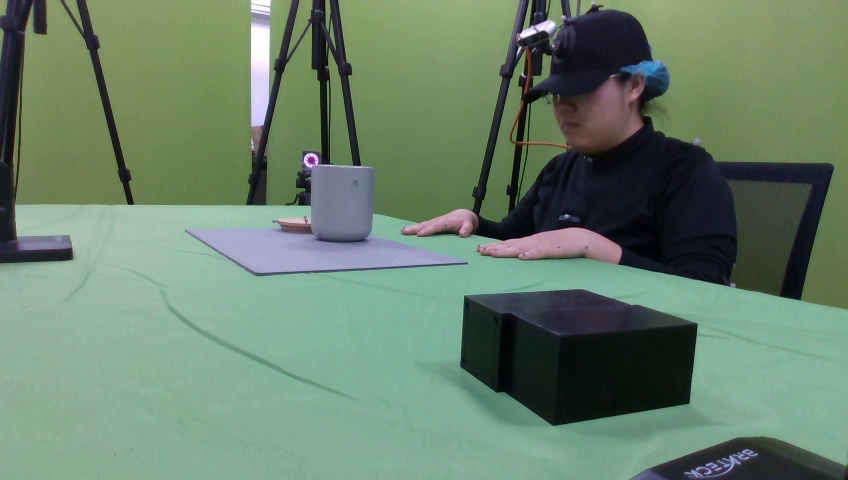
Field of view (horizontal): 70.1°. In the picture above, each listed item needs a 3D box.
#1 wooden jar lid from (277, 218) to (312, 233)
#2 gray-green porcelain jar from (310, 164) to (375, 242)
[{"bbox_3d":[-0.221,-0.028,1.138,0.108,0.020,0.108,2,8,0],"label":"wooden jar lid"},{"bbox_3d":[-0.139,-0.063,1.025,0.106,0.126,0.106,3,8,0],"label":"gray-green porcelain jar"}]
